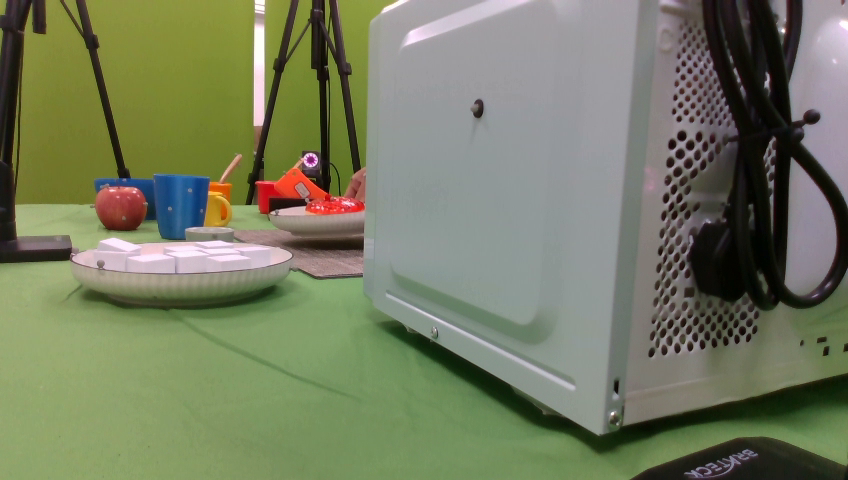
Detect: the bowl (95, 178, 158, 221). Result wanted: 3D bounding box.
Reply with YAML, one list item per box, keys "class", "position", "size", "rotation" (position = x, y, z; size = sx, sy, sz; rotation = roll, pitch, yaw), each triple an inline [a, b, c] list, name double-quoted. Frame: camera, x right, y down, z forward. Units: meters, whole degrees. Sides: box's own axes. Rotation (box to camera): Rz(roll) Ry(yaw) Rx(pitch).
- class: "bowl"
  position: [-0.576, -0.081, 1.217]
  size: [0.151, 0.077, 0.151]
  rotation: [3, 8, 0]

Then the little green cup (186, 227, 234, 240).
- class: "little green cup"
  position: [-0.285, 0.005, 0.805]
  size: [0.061, 0.038, 0.061]
  rotation: [2, 8, 0]

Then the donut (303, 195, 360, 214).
- class: "donut"
  position: [-0.145, -0.046, 0.970]
  size: [0.099, 0.048, 0.099]
  rotation: [-2, 10, 1]

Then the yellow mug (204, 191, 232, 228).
- class: "yellow mug"
  position: [-0.415, -0.057, 1.131]
  size: [0.130, 0.064, 0.100]
  rotation: [6, 7, 16]

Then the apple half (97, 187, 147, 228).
- class: "apple half"
  position: [-0.534, -0.059, 1.071]
  size: [0.082, 0.081, 0.032]
  rotation: [-1, 11, -25]

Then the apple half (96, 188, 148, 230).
- class: "apple half"
  position: [-0.517, -0.052, 1.036]
  size: [0.081, 0.074, 0.053]
  rotation: [2, 10, -26]

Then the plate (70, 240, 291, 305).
- class: "plate"
  position: [-0.242, 0.031, 0.618]
  size: [0.208, 0.039, 0.207]
  rotation: [2, 8, 0]

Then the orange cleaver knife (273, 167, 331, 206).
- class: "orange cleaver knife"
  position: [-0.238, -0.091, 1.381]
  size: [0.212, 0.077, 0.012]
  rotation: [31, 0, -19]

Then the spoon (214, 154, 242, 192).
- class: "spoon"
  position: [-0.439, -0.124, 1.318]
  size: [0.041, 0.193, 0.022]
  rotation: [6, -36, 16]

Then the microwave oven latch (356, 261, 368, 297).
- class: "microwave oven latch"
  position: [-0.020, 0.033, 0.531]
  size: [0.079, 0.029, 0.030]
  rotation: [-1, 7, -27]

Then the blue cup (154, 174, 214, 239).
- class: "blue cup"
  position: [-0.391, -0.053, 0.978]
  size: [0.093, 0.100, 0.092]
  rotation: [3, 6, 0]

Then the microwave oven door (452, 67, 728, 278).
- class: "microwave oven door"
  position: [0.196, -0.094, 0.800]
  size: [0.354, 0.243, 0.039]
  rotation: [8, 9, 36]

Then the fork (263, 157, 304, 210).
- class: "fork"
  position: [-0.345, -0.143, 1.506]
  size: [0.028, 0.019, 0.207]
  rotation: [-4, 46, 29]

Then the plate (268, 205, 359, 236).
- class: "plate"
  position: [-0.141, -0.035, 0.967]
  size: [0.209, 0.038, 0.209]
  rotation: [-3, 8, 1]

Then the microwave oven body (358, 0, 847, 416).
- class: "microwave oven body"
  position: [0.210, -0.047, 0.475]
  size: [0.444, 0.260, 0.324]
  rotation: [-1, 7, -28]
